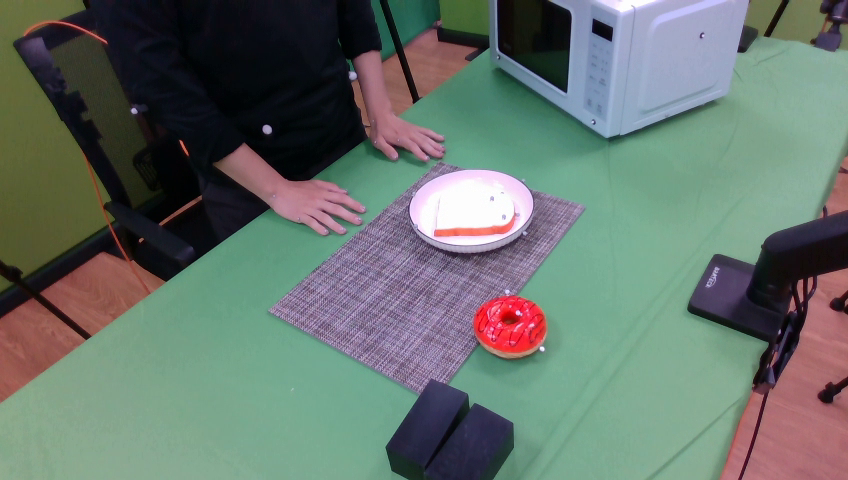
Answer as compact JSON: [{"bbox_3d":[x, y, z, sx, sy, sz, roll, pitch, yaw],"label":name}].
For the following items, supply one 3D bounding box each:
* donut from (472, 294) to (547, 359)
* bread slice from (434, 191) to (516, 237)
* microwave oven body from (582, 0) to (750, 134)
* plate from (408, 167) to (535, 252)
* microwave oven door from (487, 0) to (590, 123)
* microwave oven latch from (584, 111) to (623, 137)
[{"bbox_3d":[0.114,0.114,0.803,0.099,0.048,0.098,0,40,1],"label":"donut"},{"bbox_3d":[0.086,-0.046,0.996,0.131,0.019,0.104,-1,42,7],"label":"bread slice"},{"bbox_3d":[0.382,-0.444,1.246,0.327,0.261,0.437,-22,42,-16],"label":"microwave oven body"},{"bbox_3d":[0.078,-0.047,0.996,0.207,0.039,0.206,-4,41,4],"label":"plate"},{"bbox_3d":[0.232,-0.420,1.231,0.039,0.245,0.352,-22,43,-16],"label":"microwave oven door"},{"bbox_3d":[0.337,-0.222,1.142,0.030,0.029,0.078,-21,42,-14],"label":"microwave oven latch"}]
